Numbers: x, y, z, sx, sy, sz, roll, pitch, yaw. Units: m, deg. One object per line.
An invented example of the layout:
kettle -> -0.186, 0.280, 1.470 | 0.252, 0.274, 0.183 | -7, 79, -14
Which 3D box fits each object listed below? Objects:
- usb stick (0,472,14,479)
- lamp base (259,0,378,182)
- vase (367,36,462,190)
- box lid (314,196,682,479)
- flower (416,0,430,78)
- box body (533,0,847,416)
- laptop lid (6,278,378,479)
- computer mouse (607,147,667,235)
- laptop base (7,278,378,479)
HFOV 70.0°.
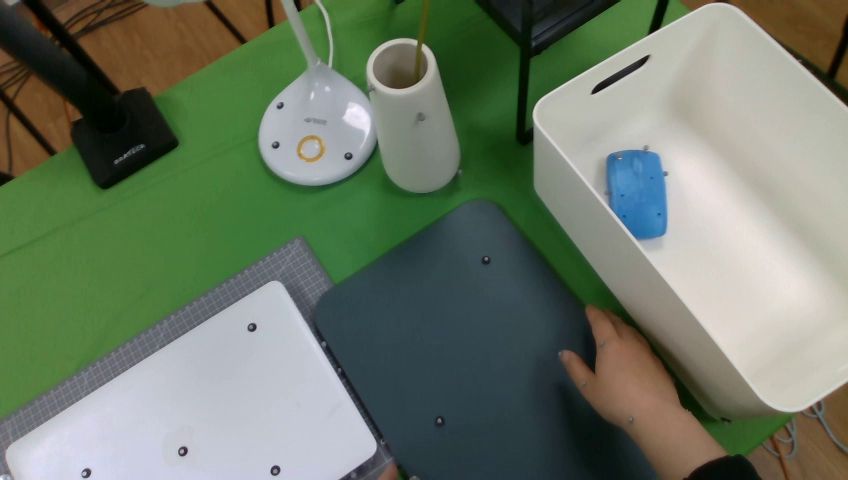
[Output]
usb stick -> -0.456, 0.268, 0.651 | 0.059, 0.027, 0.021 | -29, 66, -12
lamp base -> -0.146, -0.189, 0.732 | 0.160, 0.182, 0.178 | -2, 65, 5
vase -> -0.012, -0.137, 0.686 | 0.098, 0.201, 0.097 | -3, 67, 7
box lid -> 0.068, 0.139, 0.666 | 0.263, 0.015, 0.368 | -33, 69, -9
flower -> -0.003, -0.179, 0.614 | 0.038, 0.364, 0.043 | -18, 57, -19
box body -> 0.308, -0.030, 0.629 | 0.254, 0.161, 0.361 | -31, 68, -6
laptop lid -> -0.253, 0.223, 0.650 | 0.357, 0.013, 0.240 | -32, 70, -7
computer mouse -> 0.248, -0.061, 0.708 | 0.062, 0.041, 0.116 | 1, 64, 10
laptop base -> -0.253, 0.225, 0.661 | 0.354, 0.023, 0.234 | -33, 72, -8
